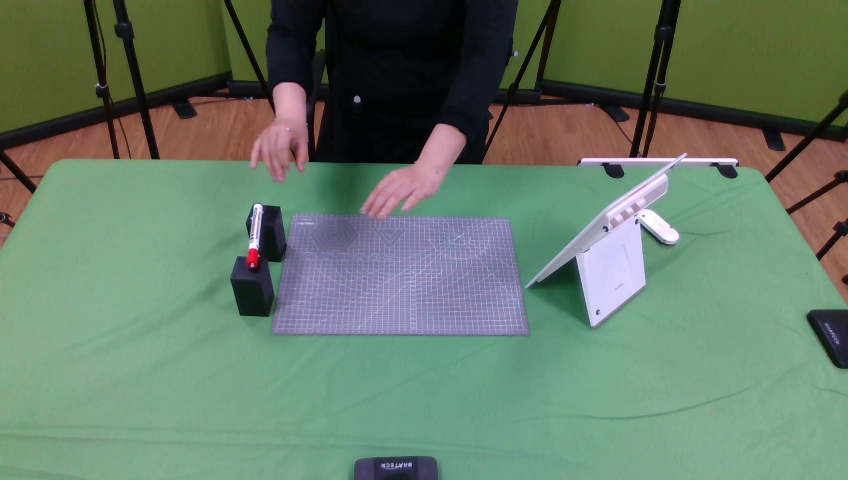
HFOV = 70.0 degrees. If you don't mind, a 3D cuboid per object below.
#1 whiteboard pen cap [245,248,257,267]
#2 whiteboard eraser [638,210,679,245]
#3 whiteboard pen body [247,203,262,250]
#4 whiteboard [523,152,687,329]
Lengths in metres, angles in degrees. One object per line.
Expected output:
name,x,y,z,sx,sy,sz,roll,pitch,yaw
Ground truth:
whiteboard pen cap,-0.288,0.028,1.010,0.017,0.017,0.032,-2,44,-6
whiteboard eraser,0.485,-0.027,1.260,0.041,0.019,0.100,-21,50,-21
whiteboard pen body,-0.295,-0.014,1.052,0.017,0.017,0.139,-2,44,-6
whiteboard,0.346,0.025,1.046,0.217,0.306,0.143,-30,74,-29
